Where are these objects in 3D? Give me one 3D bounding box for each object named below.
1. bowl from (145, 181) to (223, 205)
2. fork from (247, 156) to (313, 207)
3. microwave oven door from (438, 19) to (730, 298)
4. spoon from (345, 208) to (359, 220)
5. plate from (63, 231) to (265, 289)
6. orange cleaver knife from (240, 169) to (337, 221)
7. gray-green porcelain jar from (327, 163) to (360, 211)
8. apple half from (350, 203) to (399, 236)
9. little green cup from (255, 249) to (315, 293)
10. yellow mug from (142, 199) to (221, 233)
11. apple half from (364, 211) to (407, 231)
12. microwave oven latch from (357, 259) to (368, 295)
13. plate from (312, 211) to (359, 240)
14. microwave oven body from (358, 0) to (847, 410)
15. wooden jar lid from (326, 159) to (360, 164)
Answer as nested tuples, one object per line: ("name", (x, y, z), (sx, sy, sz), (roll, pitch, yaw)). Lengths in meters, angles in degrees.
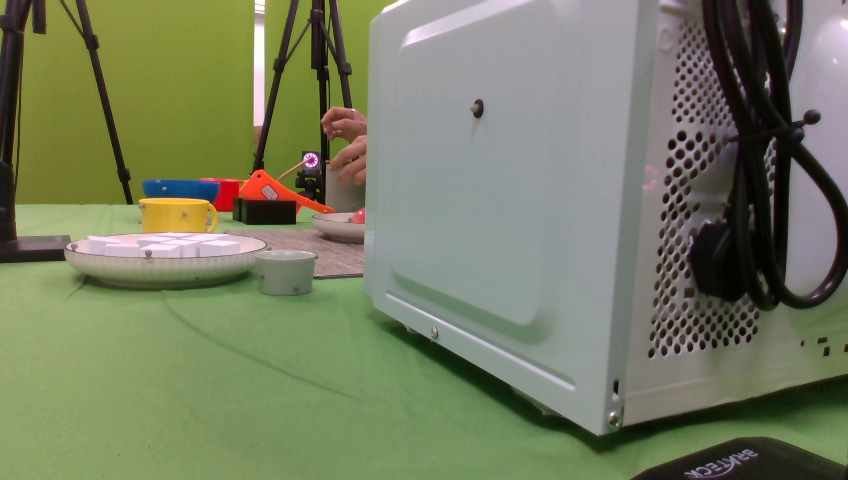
("bowl", (-0.499, -0.081, 1.261), (0.151, 0.077, 0.151), (2, 8, 0))
("fork", (-0.360, -0.147, 1.522), (0.207, 0.018, 0.028), (-43, 14, -7))
("microwave oven door", (0.181, -0.076, 0.618), (0.358, 0.243, 0.039), (-2, 8, -28))
("spoon", (-0.123, -0.047, 1.116), (0.041, 0.021, 0.194), (0, 18, 17))
("plate", (-0.288, 0.021, 0.687), (0.208, 0.039, 0.207), (2, 8, 0))
("orange cleaver knife", (-0.286, -0.082, 1.299), (0.212, 0.077, 0.012), (25, -2, -31))
("gray-green porcelain jar", (-0.187, -0.125, 1.490), (0.106, 0.126, 0.106), (2, 8, 0))
("apple half", (-0.082, -0.036, 1.024), (0.081, 0.053, 0.074), (-3, 11, -34))
("little green cup", (-0.144, 0.031, 0.627), (0.061, 0.038, 0.061), (2, 6, 0))
("yellow mug", (-0.373, -0.030, 0.948), (0.099, 0.064, 0.131), (5, 7, 30))
("apple half", (-0.068, -0.037, 1.103), (0.081, 0.033, 0.081), (-1, 9, 0))
("microwave oven latch", (-0.019, 0.031, 0.529), (0.079, 0.029, 0.030), (-1, 7, -26))
("plate", (-0.091, -0.026, 1.063), (0.209, 0.038, 0.209), (2, 7, 0))
("microwave oven body", (0.210, -0.051, 0.471), (0.444, 0.260, 0.324), (-1, 7, -28))
("wooden jar lid", (-0.185, -0.187, 1.481), (0.108, 0.020, 0.108), (4, 6, 0))
